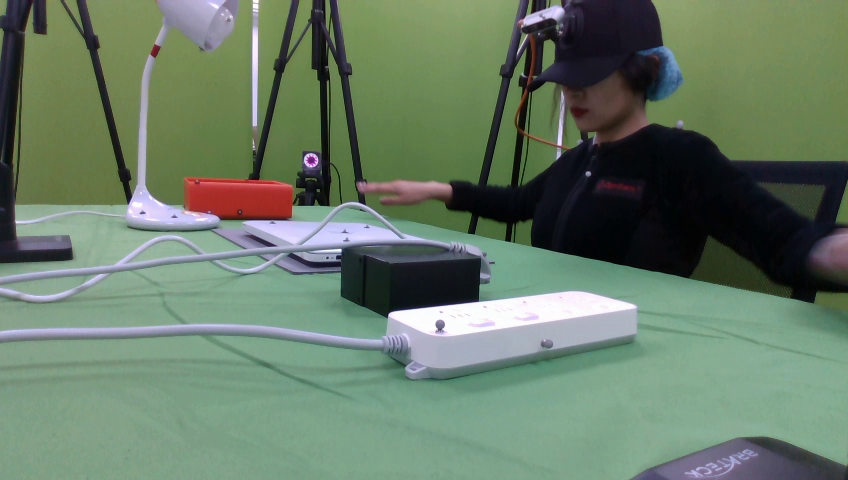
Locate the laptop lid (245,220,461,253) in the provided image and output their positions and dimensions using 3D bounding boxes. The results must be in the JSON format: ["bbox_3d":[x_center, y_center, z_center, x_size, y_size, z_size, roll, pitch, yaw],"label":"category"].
[{"bbox_3d":[-0.124,-0.009,0.945,0.243,0.013,0.355,1,7,-29],"label":"laptop lid"}]

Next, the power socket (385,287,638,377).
[{"bbox_3d":[0.074,0.064,0.462,0.228,0.032,0.072,-3,8,-34],"label":"power socket"}]

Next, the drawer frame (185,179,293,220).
[{"bbox_3d":[-0.420,-0.094,1.369,0.214,0.082,0.200,-2,9,-25],"label":"drawer frame"}]

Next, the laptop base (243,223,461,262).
[{"bbox_3d":[-0.126,0.002,0.946,0.237,0.023,0.352,2,6,-31],"label":"laptop base"}]

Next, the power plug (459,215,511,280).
[{"bbox_3d":[0.064,0.010,0.623,0.053,0.072,0.035,-6,39,-2],"label":"power plug"}]

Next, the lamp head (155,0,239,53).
[{"bbox_3d":[-0.406,-0.402,1.059,0.123,0.112,0.112,25,5,-6],"label":"lamp head"}]

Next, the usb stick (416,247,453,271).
[{"bbox_3d":[0.010,0.024,0.755,0.027,0.021,0.059,37,-17,-17],"label":"usb stick"}]

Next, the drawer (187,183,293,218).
[{"bbox_3d":[-0.418,-0.093,1.371,0.213,0.073,0.193,-2,9,-24],"label":"drawer"}]

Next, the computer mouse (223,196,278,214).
[{"bbox_3d":[-0.392,-0.079,1.368,0.118,0.041,0.062,-3,7,-24],"label":"computer mouse"}]

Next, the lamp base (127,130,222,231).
[{"bbox_3d":[-0.469,-0.112,1.108,0.179,0.180,0.160,0,7,3],"label":"lamp base"}]
